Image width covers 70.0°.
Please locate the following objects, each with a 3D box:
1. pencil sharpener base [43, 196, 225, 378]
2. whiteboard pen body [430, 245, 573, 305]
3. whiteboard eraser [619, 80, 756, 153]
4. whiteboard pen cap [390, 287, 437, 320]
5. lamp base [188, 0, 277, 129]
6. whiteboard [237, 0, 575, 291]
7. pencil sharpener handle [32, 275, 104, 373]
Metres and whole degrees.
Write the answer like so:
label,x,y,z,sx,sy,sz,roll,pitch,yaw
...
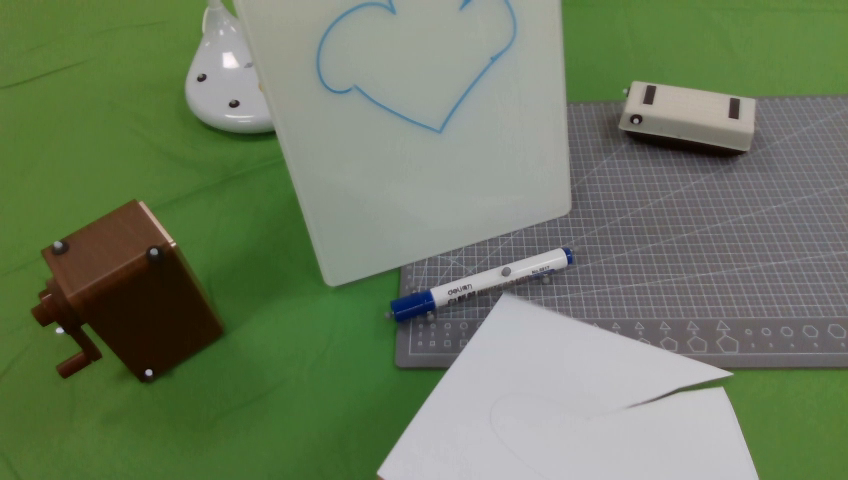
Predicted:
label,x,y,z,sx,sy,sz,roll,pitch,yaw
pencil sharpener base,-0.198,0.036,0.422,0.076,0.108,0.061,-35,56,-22
whiteboard pen body,0.048,0.030,0.461,0.141,0.017,0.017,-17,51,-9
whiteboard eraser,0.240,-0.112,0.554,0.112,0.042,0.055,14,53,15
whiteboard pen cap,-0.008,0.047,0.452,0.033,0.018,0.018,-18,51,-9
lamp base,-0.184,-0.228,0.593,0.177,0.182,0.160,33,60,30
whiteboard,-0.018,-0.151,0.474,0.217,0.308,0.142,-17,32,-9
pencil sharpener handle,-0.236,0.057,0.391,0.030,0.068,0.035,-35,43,-22
